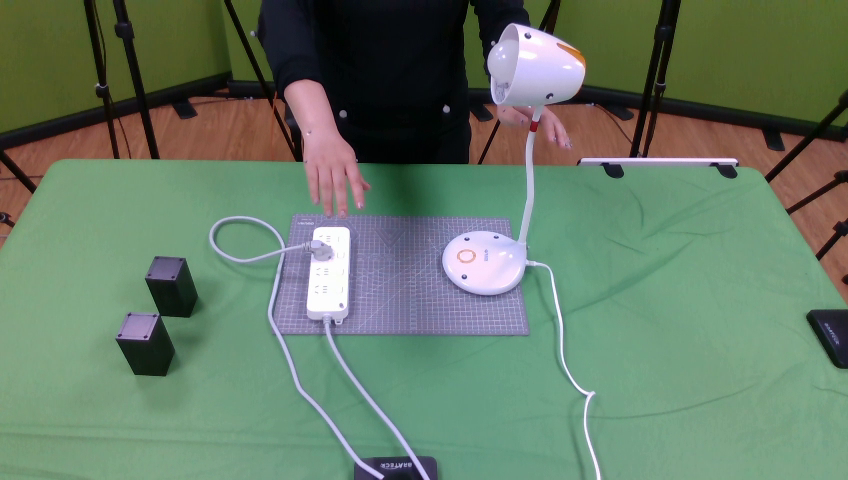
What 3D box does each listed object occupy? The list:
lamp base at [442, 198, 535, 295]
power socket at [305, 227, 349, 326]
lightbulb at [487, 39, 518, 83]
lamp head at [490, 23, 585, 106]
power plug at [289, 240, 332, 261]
[{"bbox_3d":[0.130,-0.012,1.105,0.179,0.181,0.159,-1,46,-9],"label":"lamp base"},{"bbox_3d":[-0.177,0.058,1.115,0.072,0.033,0.225,-1,46,-4],"label":"power socket"},{"bbox_3d":[0.143,-0.251,0.865,0.108,0.060,0.059,9,45,-7],"label":"lightbulb"},{"bbox_3d":[0.165,-0.241,0.871,0.123,0.113,0.111,9,43,-17],"label":"lamp head"},{"bbox_3d":[-0.207,0.022,1.123,0.072,0.053,0.035,6,44,6],"label":"power plug"}]
